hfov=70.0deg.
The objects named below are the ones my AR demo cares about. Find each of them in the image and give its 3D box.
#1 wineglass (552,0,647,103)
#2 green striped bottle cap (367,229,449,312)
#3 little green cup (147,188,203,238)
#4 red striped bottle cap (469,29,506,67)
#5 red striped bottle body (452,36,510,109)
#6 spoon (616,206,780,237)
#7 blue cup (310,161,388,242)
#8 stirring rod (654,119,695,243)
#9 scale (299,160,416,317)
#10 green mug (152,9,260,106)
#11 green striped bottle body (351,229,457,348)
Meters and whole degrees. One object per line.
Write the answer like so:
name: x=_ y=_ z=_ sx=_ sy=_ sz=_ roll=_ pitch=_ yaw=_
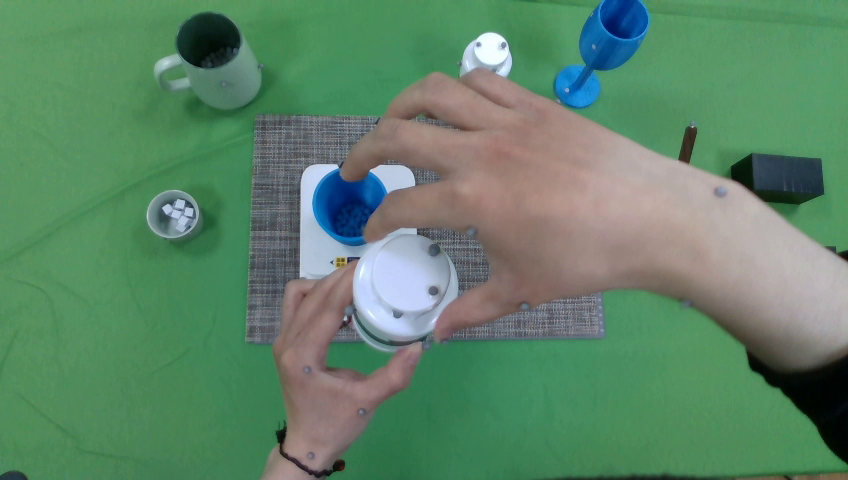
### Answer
wineglass: x=0.220 y=-0.243 z=0.778 sx=0.074 sy=0.173 sz=0.073 roll=1 pitch=78 yaw=-4
green striped bottle cap: x=-0.009 y=0.017 z=0.332 sx=0.044 sy=0.020 sz=0.044 roll=2 pitch=79 yaw=-10
little green cup: x=-0.308 y=-0.031 z=0.757 sx=0.061 sy=0.039 sz=0.061 roll=1 pitch=78 yaw=-6
red striped bottle cap: x=0.077 y=-0.234 z=0.736 sx=0.044 sy=0.018 sz=0.044 roll=1 pitch=75 yaw=-4
red striped bottle body: x=0.074 y=-0.223 z=0.788 sx=0.063 sy=0.120 sz=0.063 roll=1 pitch=78 yaw=-5
spoon: x=0.334 y=-0.018 z=0.755 sx=0.022 sy=0.192 sz=0.041 roll=19 pitch=82 yaw=-45
blue cup: x=-0.086 y=-0.037 z=0.711 sx=0.093 sy=0.100 sz=0.092 roll=1 pitch=80 yaw=-5
stirring rod: x=0.314 y=-0.069 z=0.763 sx=0.014 sy=0.177 sz=0.006 roll=5 pitch=37 yaw=10
scale: x=-0.084 y=-0.005 z=0.771 sx=0.149 sy=0.031 sz=0.200 roll=-1 pitch=79 yaw=-5
green mug: x=-0.277 y=-0.222 z=0.766 sx=0.125 sy=0.105 sz=0.092 roll=-22 pitch=81 yaw=-9
green striped bottle body: x=-0.015 y=0.032 z=0.388 sx=0.063 sy=0.119 sz=0.063 roll=2 pitch=74 yaw=-7
